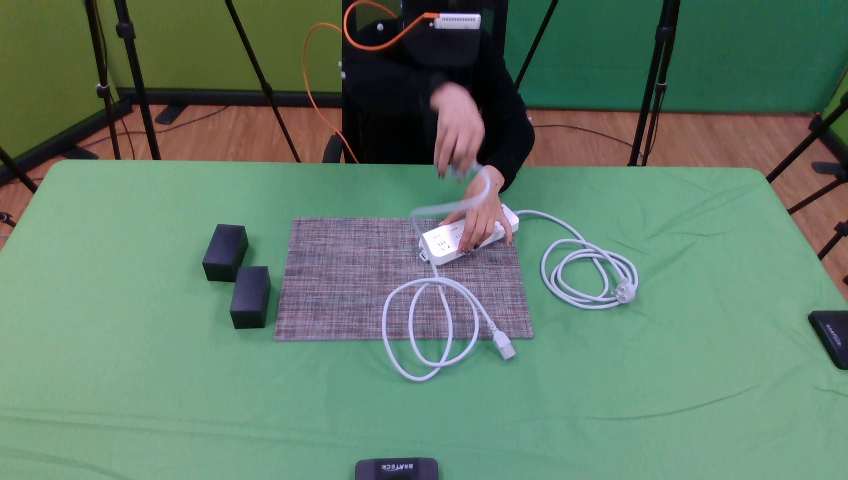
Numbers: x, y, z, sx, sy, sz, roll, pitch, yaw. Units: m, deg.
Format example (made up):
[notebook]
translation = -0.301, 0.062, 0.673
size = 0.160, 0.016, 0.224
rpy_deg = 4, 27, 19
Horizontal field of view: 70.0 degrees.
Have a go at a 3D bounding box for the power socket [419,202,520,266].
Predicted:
[power socket]
translation = 0.092, -0.014, 1.204
size = 0.227, 0.033, 0.072
rpy_deg = -22, 52, -23

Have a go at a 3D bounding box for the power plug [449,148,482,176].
[power plug]
translation = 0.067, -0.122, 1.003
size = 0.035, 0.053, 0.072
rpy_deg = -19, 39, -12
